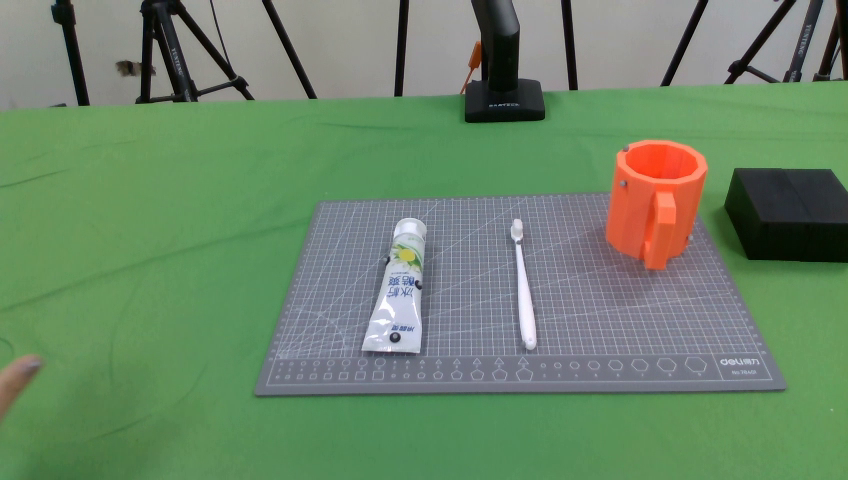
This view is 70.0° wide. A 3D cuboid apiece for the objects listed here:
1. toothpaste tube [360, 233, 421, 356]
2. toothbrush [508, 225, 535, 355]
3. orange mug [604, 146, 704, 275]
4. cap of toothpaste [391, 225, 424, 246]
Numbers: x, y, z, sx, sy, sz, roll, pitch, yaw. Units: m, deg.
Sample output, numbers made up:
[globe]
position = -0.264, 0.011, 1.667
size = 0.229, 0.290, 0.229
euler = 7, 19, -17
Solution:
[toothpaste tube]
position = -0.027, 0.050, 0.607
size = 0.055, 0.035, 0.163
euler = -3, 40, 8
[toothbrush]
position = 0.098, 0.043, 0.611
size = 0.014, 0.017, 0.180
euler = 9, 39, -5
[orange mug]
position = 0.235, -0.027, 0.621
size = 0.083, 0.101, 0.125
euler = 4, 34, 11
[cap of toothpaste]
position = -0.018, -0.001, 0.665
size = 0.037, 0.038, 0.011
euler = 1, 42, 6
